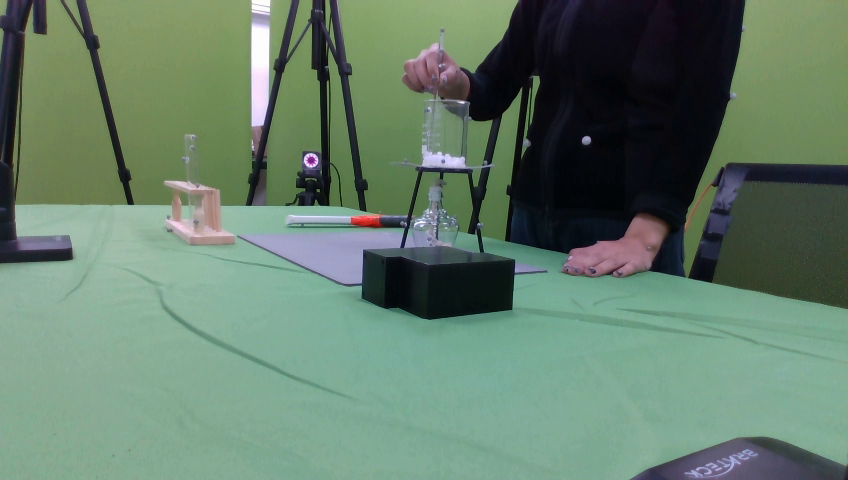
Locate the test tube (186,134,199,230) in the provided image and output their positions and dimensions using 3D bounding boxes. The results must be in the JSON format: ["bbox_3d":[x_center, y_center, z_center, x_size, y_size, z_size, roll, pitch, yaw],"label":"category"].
[{"bbox_3d":[-0.360,-0.089,0.946,0.017,0.150,0.017,0,10,0],"label":"test tube"}]

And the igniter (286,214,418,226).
[{"bbox_3d":[-0.146,-0.043,1.263,0.278,0.025,0.057,-1,-2,-24],"label":"igniter"}]

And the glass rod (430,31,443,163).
[{"bbox_3d":[0.019,-0.215,0.912,0.008,0.199,0.008,4,1,0],"label":"glass rod"}]

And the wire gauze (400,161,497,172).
[{"bbox_3d":[0.027,-0.114,0.920,0.122,0.011,0.124,-5,13,-34],"label":"wire gauze"}]

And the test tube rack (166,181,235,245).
[{"bbox_3d":[-0.383,-0.051,1.024,0.067,0.085,0.241,-2,9,-31],"label":"test tube rack"}]

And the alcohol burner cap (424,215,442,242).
[{"bbox_3d":[0.017,-0.022,1.098,0.034,0.048,0.034,2,9,0],"label":"alcohol burner cap"}]

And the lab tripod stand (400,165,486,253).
[{"bbox_3d":[0.027,-0.049,0.930,0.148,0.131,0.148,2,9,0],"label":"lab tripod stand"}]

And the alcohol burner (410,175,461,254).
[{"bbox_3d":[0.018,-0.040,0.931,0.078,0.119,0.078,0,7,0],"label":"alcohol burner"}]

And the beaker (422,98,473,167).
[{"bbox_3d":[0.031,-0.162,0.919,0.074,0.100,0.083,-4,9,-36],"label":"beaker"}]
